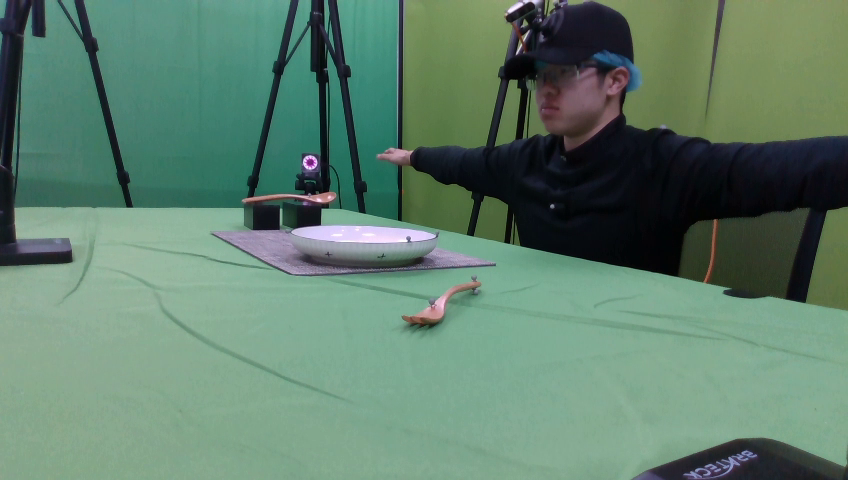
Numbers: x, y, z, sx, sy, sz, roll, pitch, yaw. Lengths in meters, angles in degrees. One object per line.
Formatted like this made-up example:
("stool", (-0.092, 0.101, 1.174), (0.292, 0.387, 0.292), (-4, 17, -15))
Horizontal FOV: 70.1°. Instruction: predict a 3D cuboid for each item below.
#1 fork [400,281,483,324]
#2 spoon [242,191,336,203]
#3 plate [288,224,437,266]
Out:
("fork", (0.025, 0.057, 0.590), (0.028, 0.018, 0.208), (-1, 7, 21))
("spoon", (-0.271, -0.087, 1.225), (0.195, 0.021, 0.041), (-2, 31, -31))
("plate", (-0.086, 0.007, 0.852), (0.208, 0.039, 0.207), (2, 7, 0))
